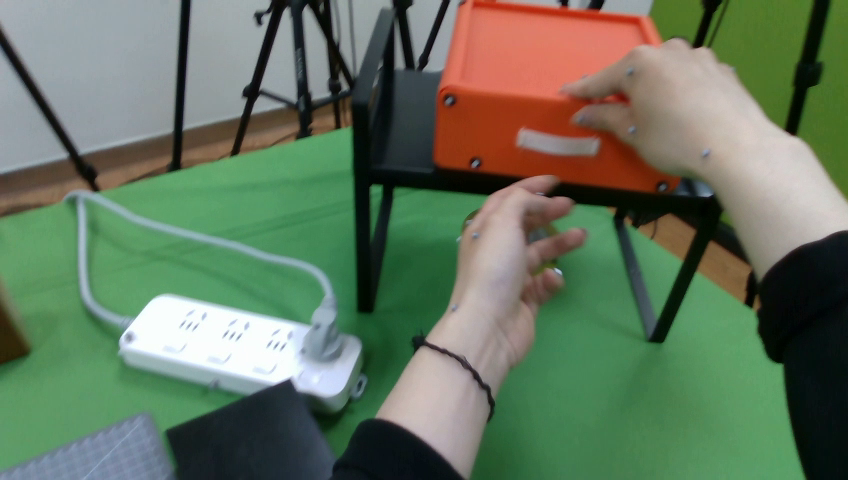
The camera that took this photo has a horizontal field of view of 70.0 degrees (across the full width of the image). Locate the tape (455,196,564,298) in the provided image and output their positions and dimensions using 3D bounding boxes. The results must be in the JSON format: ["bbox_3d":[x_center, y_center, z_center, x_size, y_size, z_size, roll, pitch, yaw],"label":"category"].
[{"bbox_3d":[0.095,0.006,0.672,0.117,0.053,0.115,3,42,-3],"label":"tape"}]

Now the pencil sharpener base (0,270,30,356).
[{"bbox_3d":[-0.400,0.054,0.517,0.077,0.108,0.060,-24,49,-29],"label":"pencil sharpener base"}]

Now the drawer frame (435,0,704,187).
[{"bbox_3d":[0.120,-0.148,0.554,0.201,0.083,0.211,7,40,2],"label":"drawer frame"}]

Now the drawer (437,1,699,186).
[{"bbox_3d":[0.120,-0.144,0.551,0.194,0.074,0.210,7,40,3],"label":"drawer"}]

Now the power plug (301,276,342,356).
[{"bbox_3d":[-0.083,0.076,0.549,0.035,0.053,0.072,19,43,16],"label":"power plug"}]

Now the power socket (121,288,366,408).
[{"bbox_3d":[-0.163,0.096,0.552,0.226,0.033,0.071,12,40,8],"label":"power socket"}]
